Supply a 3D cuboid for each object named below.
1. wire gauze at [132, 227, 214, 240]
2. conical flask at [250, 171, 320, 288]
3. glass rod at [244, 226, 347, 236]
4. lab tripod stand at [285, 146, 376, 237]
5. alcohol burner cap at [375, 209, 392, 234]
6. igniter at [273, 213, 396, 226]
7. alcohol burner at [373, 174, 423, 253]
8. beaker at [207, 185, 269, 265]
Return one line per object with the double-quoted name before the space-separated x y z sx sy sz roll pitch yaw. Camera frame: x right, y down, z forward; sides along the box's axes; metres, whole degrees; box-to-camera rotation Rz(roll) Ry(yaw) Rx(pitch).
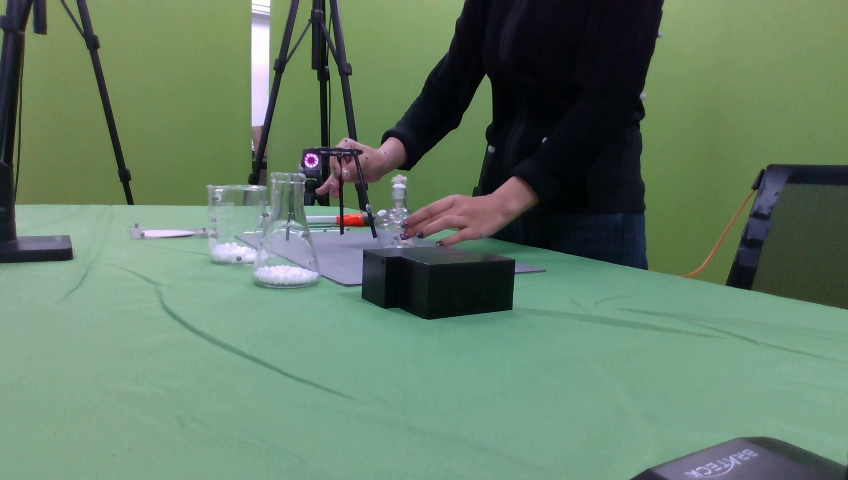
"wire gauze" -0.425 -0.013 1.018 0.122 0.011 0.124 -1 6 -28
"conical flask" -0.150 -0.013 0.658 0.075 0.122 0.075 2 7 0
"glass rod" -0.239 -0.018 1.145 0.201 0.008 0.008 -4 9 -29
"lab tripod stand" -0.131 -0.070 0.898 0.148 0.131 0.148 1 3 0
"alcohol burner cap" -0.078 -0.036 1.148 0.034 0.048 0.034 2 7 0
"igniter" -0.179 -0.044 1.258 0.278 0.025 0.057 -3 -1 -39
"alcohol burner" -0.040 -0.041 0.924 0.078 0.119 0.078 0 7 0
"beaker" -0.244 -0.021 0.784 0.083 0.100 0.074 6 8 30
